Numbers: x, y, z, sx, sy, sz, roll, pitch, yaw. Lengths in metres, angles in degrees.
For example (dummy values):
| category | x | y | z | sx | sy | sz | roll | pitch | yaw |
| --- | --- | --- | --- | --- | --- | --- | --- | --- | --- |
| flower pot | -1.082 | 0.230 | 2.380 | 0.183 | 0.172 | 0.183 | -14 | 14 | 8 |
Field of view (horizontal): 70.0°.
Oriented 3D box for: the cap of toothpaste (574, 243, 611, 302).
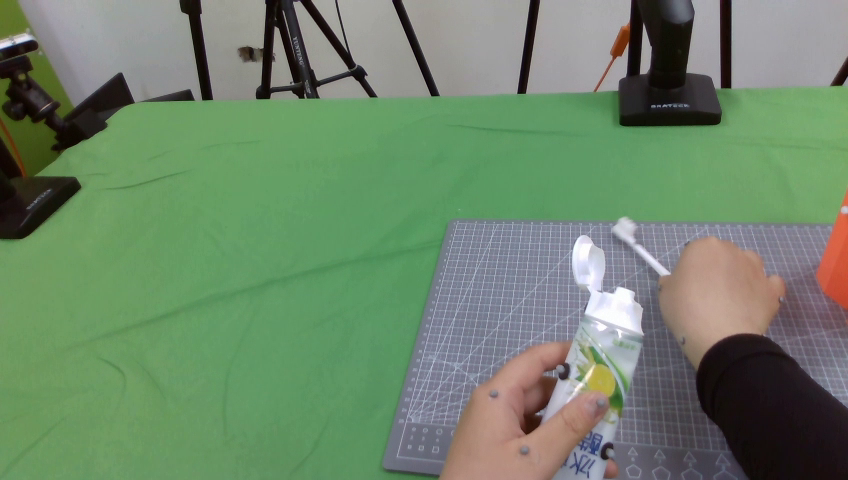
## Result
| category | x | y | z | sx | sy | sz | roll | pitch | yaw |
| --- | --- | --- | --- | --- | --- | --- | --- | --- | --- |
| cap of toothpaste | 0.104 | 0.019 | 0.370 | 0.011 | 0.037 | 0.037 | -6 | 32 | 42 |

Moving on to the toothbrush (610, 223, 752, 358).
| category | x | y | z | sx | sy | sz | roll | pitch | yaw |
| --- | --- | --- | --- | --- | --- | --- | --- | --- | --- |
| toothbrush | 0.223 | 0.038 | 0.539 | 0.014 | 0.017 | 0.179 | 7 | 31 | -30 |

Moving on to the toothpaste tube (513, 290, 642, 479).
| category | x | y | z | sx | sy | sz | roll | pitch | yaw |
| --- | --- | --- | --- | --- | --- | --- | --- | --- | --- |
| toothpaste tube | 0.088 | 0.107 | 0.352 | 0.055 | 0.035 | 0.165 | 18 | 88 | 22 |

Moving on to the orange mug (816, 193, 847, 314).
| category | x | y | z | sx | sy | sz | roll | pitch | yaw |
| --- | --- | --- | --- | --- | --- | --- | --- | --- | --- |
| orange mug | 0.365 | 0.013 | 0.475 | 0.083 | 0.102 | 0.126 | 23 | 44 | 34 |
